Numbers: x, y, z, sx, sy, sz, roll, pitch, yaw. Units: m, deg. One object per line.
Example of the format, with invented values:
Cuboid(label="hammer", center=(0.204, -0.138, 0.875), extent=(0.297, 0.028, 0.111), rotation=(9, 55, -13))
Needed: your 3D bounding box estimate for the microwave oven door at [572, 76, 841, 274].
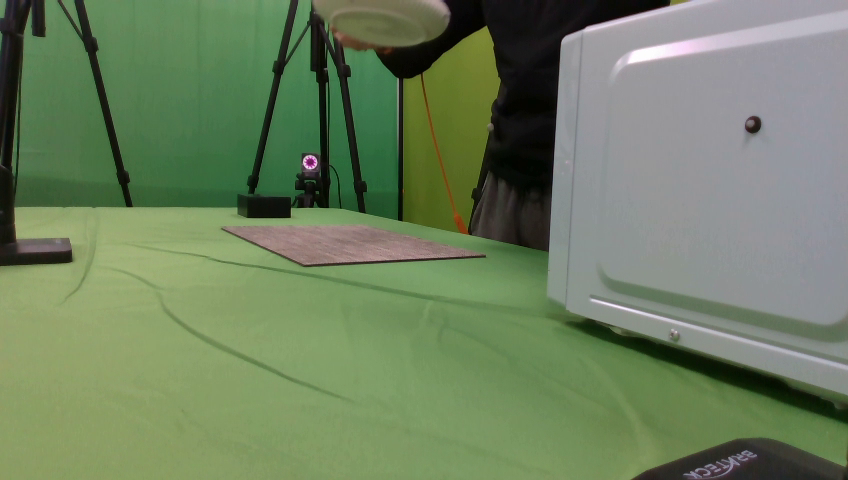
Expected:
Cuboid(label="microwave oven door", center=(0.377, -0.094, 0.866), extent=(0.039, 0.243, 0.354), rotation=(-4, 9, -41))

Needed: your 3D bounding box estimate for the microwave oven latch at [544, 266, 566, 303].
Cuboid(label="microwave oven latch", center=(0.147, 0.039, 0.555), extent=(0.079, 0.029, 0.030), rotation=(-1, 7, -27))

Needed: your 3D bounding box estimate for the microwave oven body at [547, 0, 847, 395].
Cuboid(label="microwave oven body", center=(0.378, -0.046, 0.510), extent=(0.444, 0.260, 0.324), rotation=(-2, 7, -31))

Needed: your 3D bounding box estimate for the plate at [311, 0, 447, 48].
Cuboid(label="plate", center=(-0.071, -0.337, 0.929), extent=(0.209, 0.038, 0.209), rotation=(7, 1, 0))
